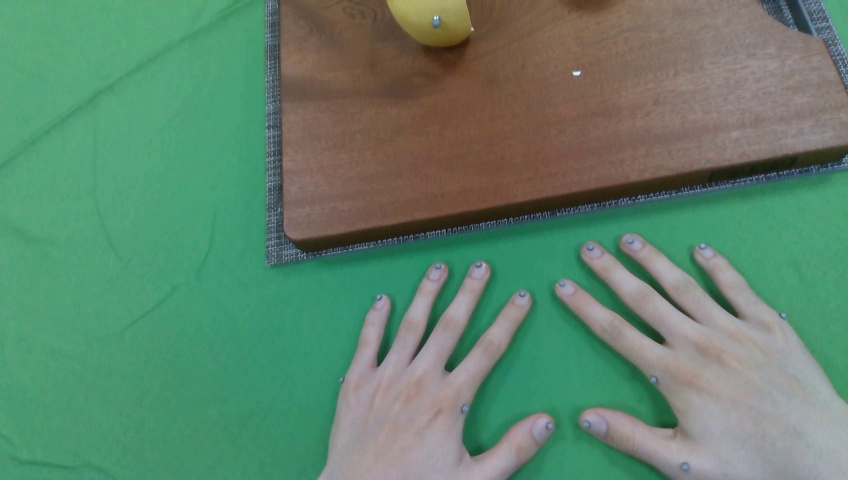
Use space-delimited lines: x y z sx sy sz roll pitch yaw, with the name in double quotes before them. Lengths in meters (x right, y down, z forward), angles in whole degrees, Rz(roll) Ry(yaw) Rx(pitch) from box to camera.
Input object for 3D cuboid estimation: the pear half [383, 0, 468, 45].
"pear half" -0.006 -0.190 0.435 0.056 0.111 0.075 -26 62 0
